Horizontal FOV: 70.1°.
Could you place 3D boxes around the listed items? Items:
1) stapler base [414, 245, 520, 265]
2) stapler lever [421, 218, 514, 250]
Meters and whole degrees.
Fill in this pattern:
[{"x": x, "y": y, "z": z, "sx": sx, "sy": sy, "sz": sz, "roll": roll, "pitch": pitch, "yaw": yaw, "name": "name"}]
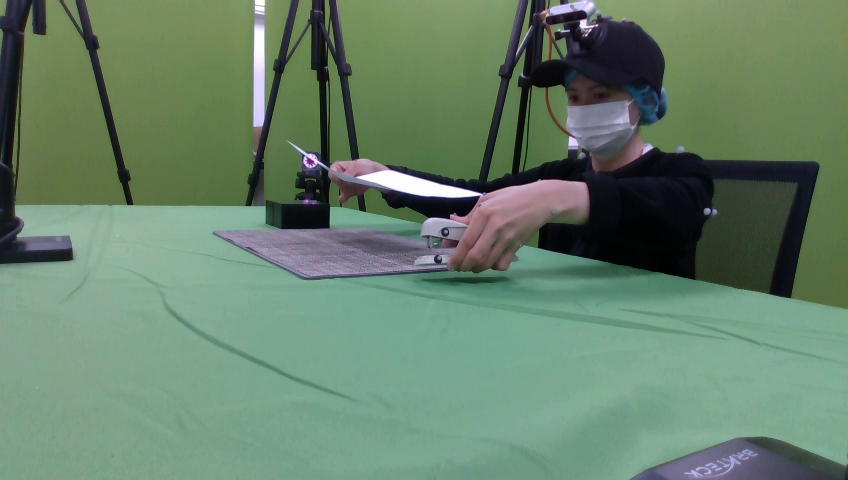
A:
[{"x": 0.052, "y": 0.018, "z": 0.735, "sx": 0.131, "sy": 0.024, "sz": 0.041, "roll": 2, "pitch": -4, "yaw": -23, "name": "stapler base"}, {"x": 0.052, "y": -0.006, "z": 0.738, "sx": 0.118, "sy": 0.040, "sz": 0.026, "roll": 0, "pitch": -4, "yaw": -23, "name": "stapler lever"}]
